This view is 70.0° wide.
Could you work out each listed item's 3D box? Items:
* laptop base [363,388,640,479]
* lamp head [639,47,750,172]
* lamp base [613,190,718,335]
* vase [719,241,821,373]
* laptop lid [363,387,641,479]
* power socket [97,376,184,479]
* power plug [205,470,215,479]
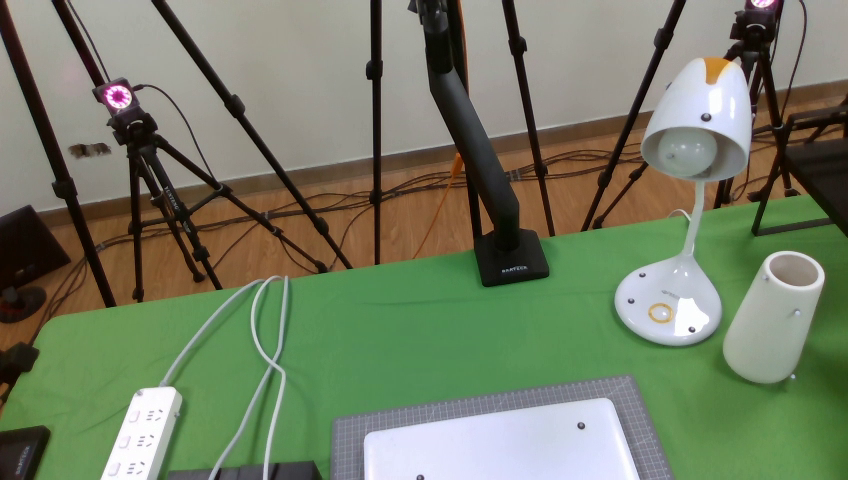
[{"bbox_3d":[0.099,0.321,0.785,0.354,0.023,0.233,-9,48,1],"label":"laptop base"},{"bbox_3d":[0.311,-0.151,0.682,0.112,0.113,0.122,14,67,22],"label":"lamp head"},{"bbox_3d":[0.382,0.023,0.924,0.159,0.182,0.178,17,47,24],"label":"lamp base"},{"bbox_3d":[0.469,0.093,0.825,0.098,0.202,0.097,-6,43,6],"label":"vase"},{"bbox_3d":[0.097,0.315,0.775,0.357,0.013,0.239,-8,47,2],"label":"laptop lid"},{"bbox_3d":[-0.415,0.297,0.886,0.072,0.033,0.224,-4,44,5],"label":"power socket"},{"bbox_3d":[-0.276,0.343,0.779,0.035,0.053,0.072,9,51,45],"label":"power plug"}]
